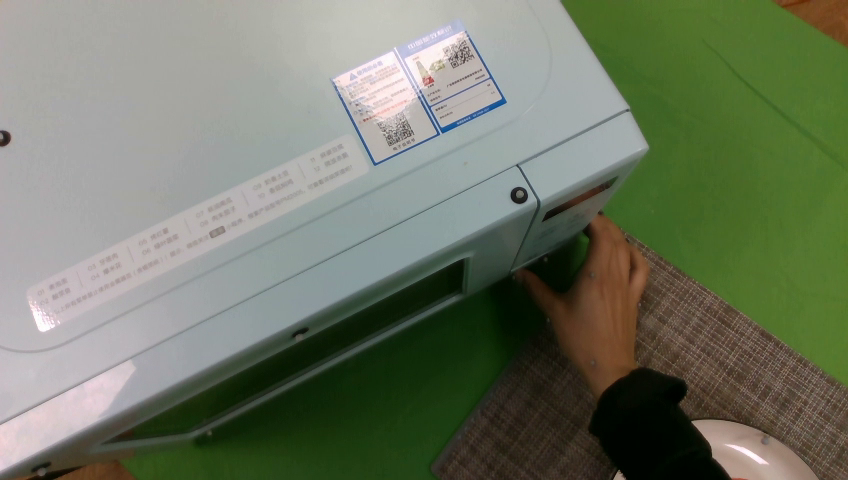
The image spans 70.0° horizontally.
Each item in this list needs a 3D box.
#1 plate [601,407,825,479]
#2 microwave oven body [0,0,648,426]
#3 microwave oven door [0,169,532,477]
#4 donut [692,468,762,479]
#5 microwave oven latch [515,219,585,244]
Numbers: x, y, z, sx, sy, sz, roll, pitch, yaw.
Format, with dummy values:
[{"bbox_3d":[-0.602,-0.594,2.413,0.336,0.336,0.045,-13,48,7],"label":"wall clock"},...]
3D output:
[{"bbox_3d":[0.251,0.253,0.529,0.209,0.038,0.208,0,77,2],"label":"plate"},{"bbox_3d":[-0.120,-0.076,0.505,0.442,0.261,0.324,-27,78,-3],"label":"microwave oven body"},{"bbox_3d":[-0.091,0.068,0.466,0.356,0.245,0.039,-27,77,-4],"label":"microwave oven door"},{"bbox_3d":[0.264,0.246,0.519,0.099,0.048,0.098,0,80,1],"label":"donut"},{"bbox_3d":[0.111,-0.015,0.581,0.079,0.029,0.030,-10,78,0],"label":"microwave oven latch"}]
